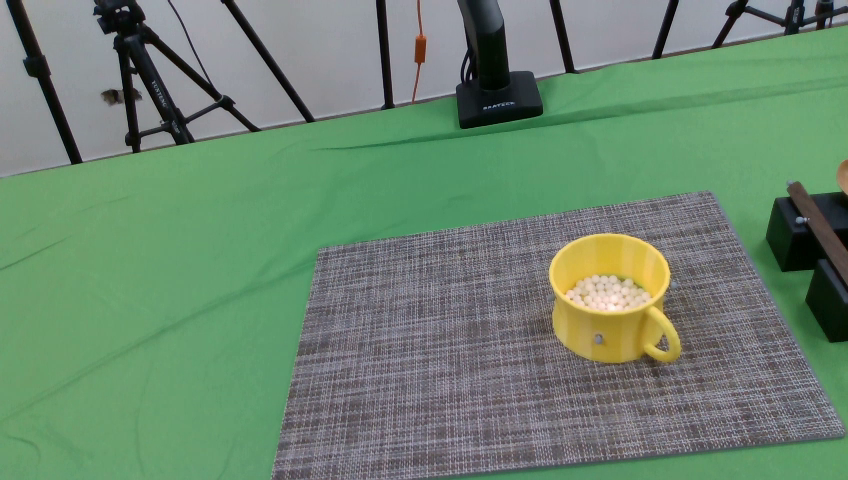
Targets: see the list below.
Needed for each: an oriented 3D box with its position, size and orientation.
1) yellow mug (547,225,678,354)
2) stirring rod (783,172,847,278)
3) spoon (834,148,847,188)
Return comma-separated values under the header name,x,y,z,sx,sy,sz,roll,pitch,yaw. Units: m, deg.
name,x,y,z,sx,sy,sz,roll,pitch,yaw
yellow mug,0.171,0.050,0.533,0.100,0.064,0.129,-30,45,-16
stirring rod,0.343,-0.003,0.510,0.014,0.006,0.174,-40,30,32
spoon,0.398,-0.012,0.500,0.041,0.022,0.192,-8,44,7
